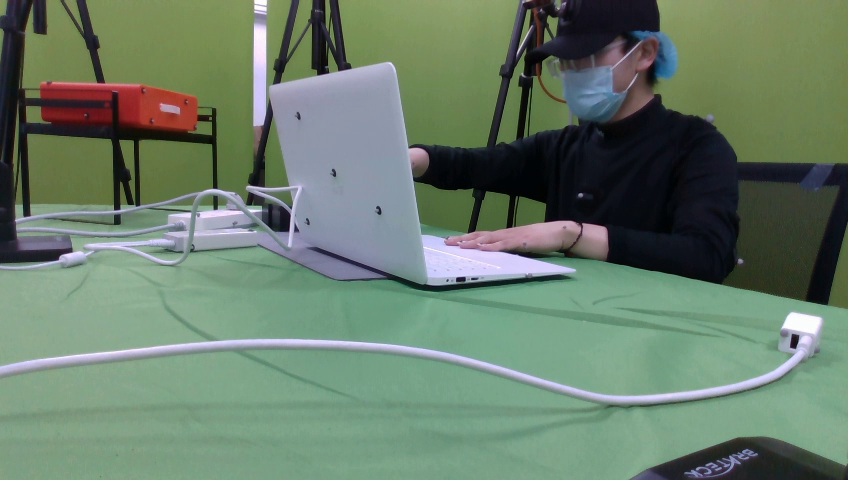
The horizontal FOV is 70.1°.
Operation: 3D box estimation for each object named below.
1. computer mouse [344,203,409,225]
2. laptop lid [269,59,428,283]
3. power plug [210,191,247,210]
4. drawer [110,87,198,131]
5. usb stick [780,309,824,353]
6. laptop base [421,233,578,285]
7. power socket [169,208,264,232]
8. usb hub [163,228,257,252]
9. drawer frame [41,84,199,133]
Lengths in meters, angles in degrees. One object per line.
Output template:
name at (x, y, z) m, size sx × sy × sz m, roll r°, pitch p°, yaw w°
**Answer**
computer mouse at (-0.088, -0.047, 1.116) m, size 0.117 × 0.041 × 0.063 m, roll -1°, pitch 2°, yaw 14°
laptop lid at (-0.110, -0.087, 0.752) m, size 0.013 × 0.241 × 0.355 m, roll -18°, pitch 19°, yaw -30°
power plug at (-0.386, -0.071, 1.203) m, size 0.072 × 0.052 × 0.035 m, roll 8°, pitch 10°, yaw 25°
drawer at (-0.602, -0.263, 1.225) m, size 0.211 × 0.073 × 0.195 m, roll 3°, pitch 8°, yaw 10°
usb stick at (0.311, 0.072, 0.496) m, size 0.027 × 0.021 × 0.059 m, roll 8°, pitch 15°, yaw 34°
laptop base at (0.007, 0.022, 0.850) m, size 0.237 × 0.023 × 0.352 m, roll 1°, pitch 7°, yaw -34°
power socket at (-0.381, -0.038, 1.128) m, size 0.072 × 0.032 × 0.227 m, roll 4°, pitch 8°, yaw 17°
usb hub at (-0.314, 0.000, 0.894) m, size 0.049 × 0.025 × 0.126 m, roll 9°, pitch 10°, yaw 41°
drawer frame at (-0.604, -0.264, 1.225) m, size 0.213 × 0.082 × 0.202 m, roll 3°, pitch 8°, yaw 8°
